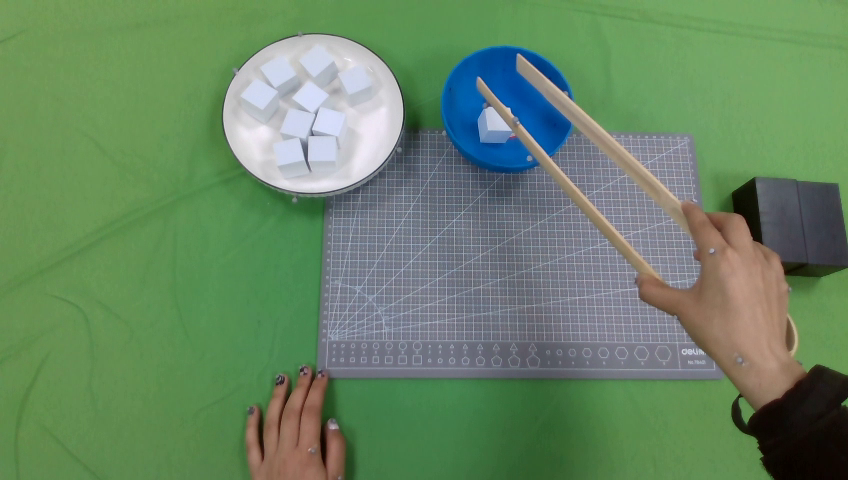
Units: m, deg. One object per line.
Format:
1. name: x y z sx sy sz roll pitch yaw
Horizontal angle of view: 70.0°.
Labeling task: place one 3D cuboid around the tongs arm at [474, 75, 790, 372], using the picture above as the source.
1. tongs arm: 0.169 -0.035 0.557 0.051 0.027 0.381 -30 64 -8

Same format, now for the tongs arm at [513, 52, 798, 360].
1. tongs arm: 0.196 -0.052 0.562 0.028 0.028 0.384 -30 64 -12

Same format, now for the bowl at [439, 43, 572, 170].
1. bowl: 0.089 -0.141 0.703 0.151 0.077 0.150 1 74 -4

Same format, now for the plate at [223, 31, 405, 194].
1. plate: -0.126 -0.147 0.712 0.208 0.039 0.206 1 74 -2
